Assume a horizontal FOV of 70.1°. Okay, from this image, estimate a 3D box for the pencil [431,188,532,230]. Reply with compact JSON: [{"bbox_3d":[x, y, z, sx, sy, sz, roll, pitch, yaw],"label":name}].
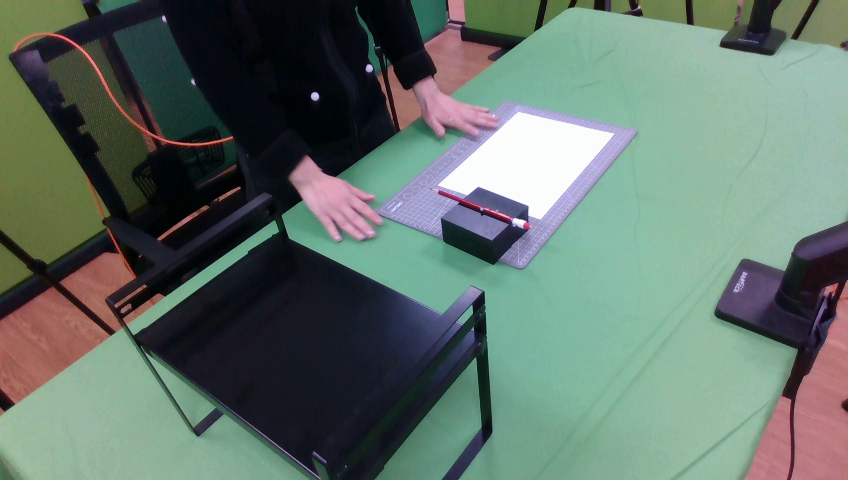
[{"bbox_3d":[0.086,-0.052,0.952,0.192,0.012,0.012,24,50,32],"label":"pencil"}]
